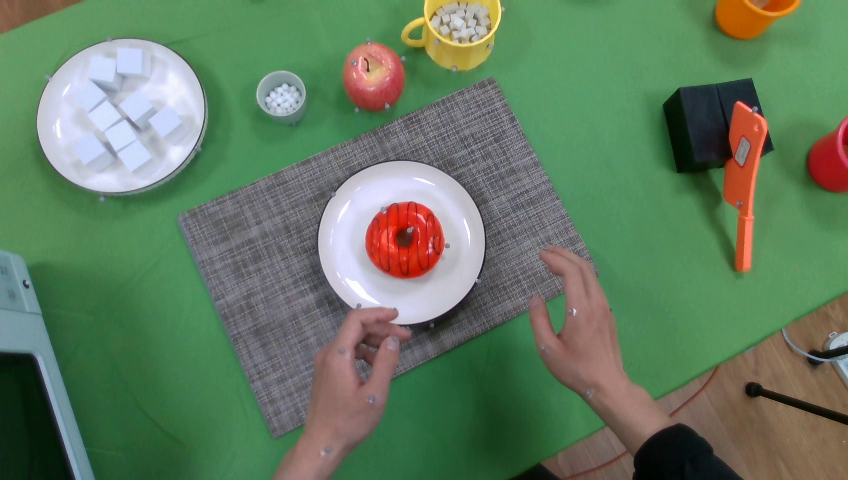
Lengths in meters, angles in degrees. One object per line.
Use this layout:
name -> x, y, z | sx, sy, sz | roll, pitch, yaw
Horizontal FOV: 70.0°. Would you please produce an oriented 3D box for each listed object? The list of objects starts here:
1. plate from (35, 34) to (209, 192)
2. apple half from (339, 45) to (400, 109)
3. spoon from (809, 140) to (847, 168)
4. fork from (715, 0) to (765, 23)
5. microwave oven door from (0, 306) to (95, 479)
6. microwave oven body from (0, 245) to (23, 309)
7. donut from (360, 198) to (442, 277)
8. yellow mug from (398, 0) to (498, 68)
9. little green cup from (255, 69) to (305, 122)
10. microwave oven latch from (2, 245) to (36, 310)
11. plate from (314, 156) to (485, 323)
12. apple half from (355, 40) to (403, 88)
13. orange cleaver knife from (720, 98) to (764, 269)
plate -> -0.376, -0.158, 0.768 | 0.208, 0.039, 0.206 | 1, 79, -3
apple half -> -0.076, -0.199, 0.773 | 0.081, 0.075, 0.053 | 38, 84, 1
spoon -> 0.589, -0.105, 0.751 | 0.192, 0.022, 0.041 | 10, 69, 44
fork -> 0.487, -0.346, 0.788 | 0.207, 0.019, 0.028 | -25, 75, 37
microwave oven door -> -0.393, 0.226, 0.572 | 0.039, 0.244, 0.354 | -23, 81, -7
microwave oven body -> -0.544, 0.244, 0.567 | 0.326, 0.261, 0.440 | -23, 82, -7
donut -> -0.028, -0.003, 0.741 | 0.099, 0.048, 0.098 | 1, 81, -3
yellow mug -> 0.029, -0.283, 0.797 | 0.131, 0.064, 0.099 | -15, 80, -5
little green cup -> -0.183, -0.183, 0.782 | 0.061, 0.039, 0.061 | 0, 79, -2
microwave oven latch -> -0.482, 0.047, 0.705 | 0.030, 0.029, 0.079 | -21, 82, -7
plate -> -0.030, 0.000, 0.751 | 0.209, 0.038, 0.208 | 1, 79, -3
apple half -> -0.052, -0.230, 0.779 | 0.081, 0.081, 0.033 | 37, 84, 5
orange cleaver knife -> 0.394, -0.068, 0.763 | 0.012, 0.076, 0.212 | -6, 111, -2
